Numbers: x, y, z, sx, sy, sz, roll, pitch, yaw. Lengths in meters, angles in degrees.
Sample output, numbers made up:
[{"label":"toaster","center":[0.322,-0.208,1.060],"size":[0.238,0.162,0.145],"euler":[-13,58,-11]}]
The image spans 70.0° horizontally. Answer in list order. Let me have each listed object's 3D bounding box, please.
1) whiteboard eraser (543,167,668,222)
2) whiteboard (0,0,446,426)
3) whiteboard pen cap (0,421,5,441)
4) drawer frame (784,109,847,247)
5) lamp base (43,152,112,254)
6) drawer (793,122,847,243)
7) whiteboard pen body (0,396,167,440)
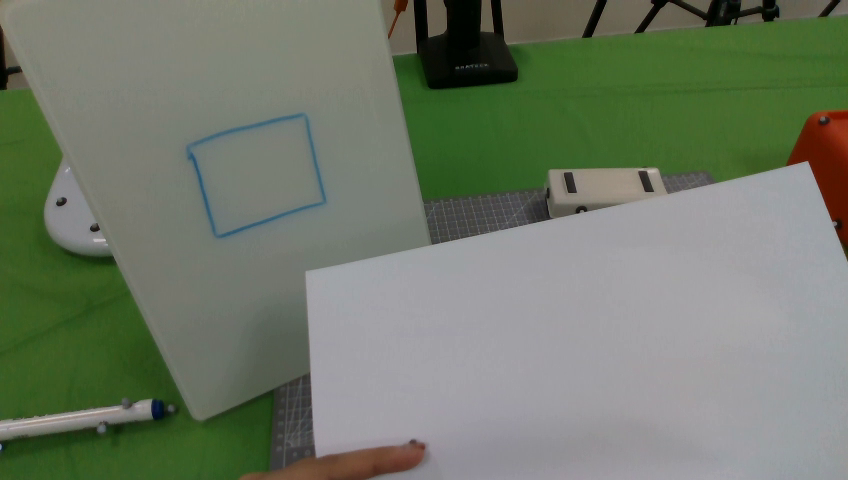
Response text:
[{"label":"whiteboard eraser","center":[0.176,-0.043,0.597],"size":[0.113,0.042,0.055],"euler":[-1,43,1]},{"label":"whiteboard","center":[-0.132,-0.054,0.476],"size":[0.217,0.308,0.142],"euler":[-22,29,-18]},{"label":"whiteboard pen cap","center":[-0.325,0.141,0.441],"size":[0.033,0.018,0.018],"euler":[-5,44,-12]},{"label":"drawer frame","center":[0.486,-0.035,0.553],"size":[0.202,0.083,0.211],"euler":[-6,44,-2]},{"label":"lamp base","center":[-0.319,-0.103,0.579],"size":[0.178,0.182,0.160],"euler":[23,50,26]},{"label":"drawer","center":[0.487,-0.029,0.549],"size":[0.194,0.074,0.209],"euler":[-5,44,-1]},{"label":"whiteboard pen body","center":[-0.266,0.134,0.450],"size":[0.141,0.017,0.017],"euler":[-6,45,-10]}]
